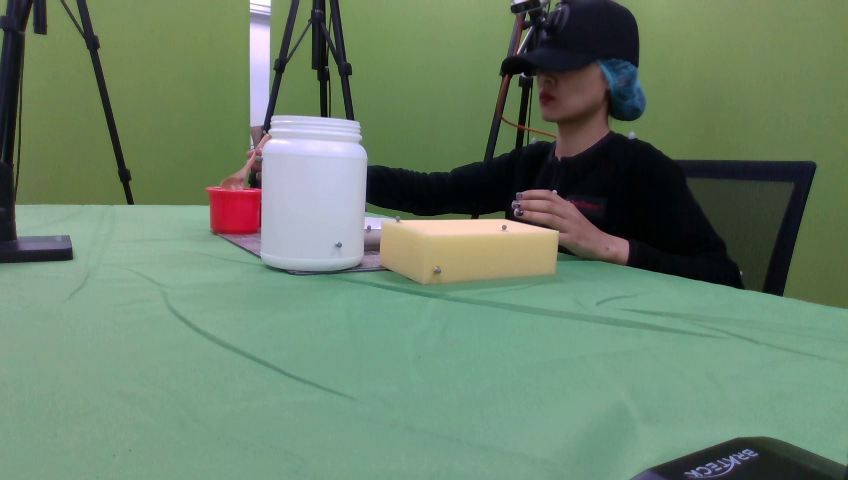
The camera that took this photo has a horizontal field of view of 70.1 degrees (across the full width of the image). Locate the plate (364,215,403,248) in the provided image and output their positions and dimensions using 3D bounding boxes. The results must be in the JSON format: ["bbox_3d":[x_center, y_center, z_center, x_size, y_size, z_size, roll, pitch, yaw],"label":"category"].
[{"bbox_3d":[-0.122,-0.015,0.984,0.209,0.038,0.209,2,7,0],"label":"plate"}]

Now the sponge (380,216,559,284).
[{"bbox_3d":[0.059,0.008,0.786,0.208,0.061,0.117,-3,11,-32],"label":"sponge"}]

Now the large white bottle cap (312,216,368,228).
[{"bbox_3d":[-0.171,-0.038,1.234,0.115,0.018,0.115,2,5,0],"label":"large white bottle cap"}]

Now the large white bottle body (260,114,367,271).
[{"bbox_3d":[-0.139,-0.062,0.763,0.131,0.184,0.130,3,8,0],"label":"large white bottle body"}]

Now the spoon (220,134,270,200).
[{"bbox_3d":[-0.321,-0.139,1.112,0.042,0.193,0.021,37,-45,-19],"label":"spoon"}]
